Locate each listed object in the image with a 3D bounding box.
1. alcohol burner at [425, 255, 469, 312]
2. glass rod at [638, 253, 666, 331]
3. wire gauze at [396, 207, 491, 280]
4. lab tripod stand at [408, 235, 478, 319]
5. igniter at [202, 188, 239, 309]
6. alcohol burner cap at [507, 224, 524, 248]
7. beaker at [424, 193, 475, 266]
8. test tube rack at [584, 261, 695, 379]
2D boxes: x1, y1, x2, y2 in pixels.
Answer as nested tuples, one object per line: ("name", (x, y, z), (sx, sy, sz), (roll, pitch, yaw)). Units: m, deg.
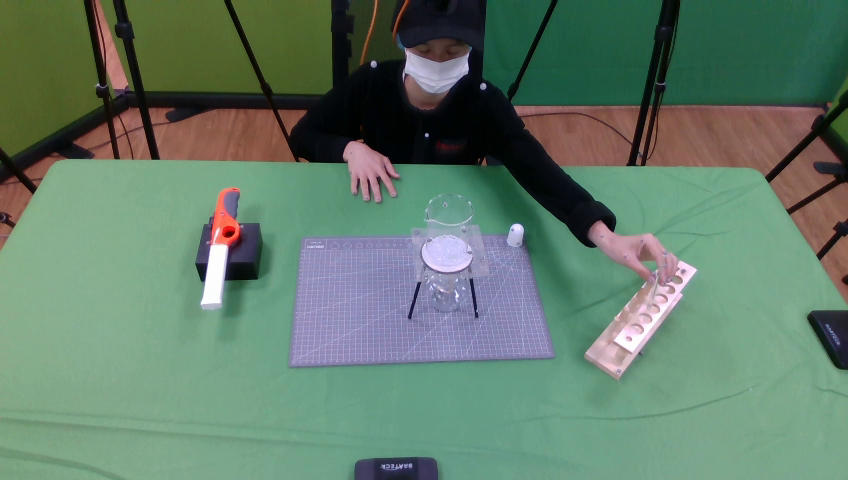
("alcohol burner", (0.041, 0.072, 1.065), (0.078, 0.120, 0.077), (1, 46, -1))
("glass rod", (0.376, 0.090, 1.003), (0.008, 0.201, 0.008), (-2, 46, 3))
("wire gauze", (0.032, 0.006, 1.001), (0.125, 0.011, 0.120), (-20, 52, -16))
("lab tripod stand", (0.032, 0.065, 1.057), (0.148, 0.132, 0.147), (1, 45, -1))
("igniter", (-0.366, 0.006, 1.095), (0.057, 0.025, 0.274), (-1, 50, -7))
("alcohol burner cap", (0.184, -0.010, 1.206), (0.034, 0.048, 0.033), (0, 45, 0))
("beaker", (0.036, -0.013, 0.974), (0.084, 0.101, 0.073), (-18, 48, -20))
("test tube rack", (0.380, 0.127, 1.062), (0.066, 0.085, 0.242), (34, 53, 26))
